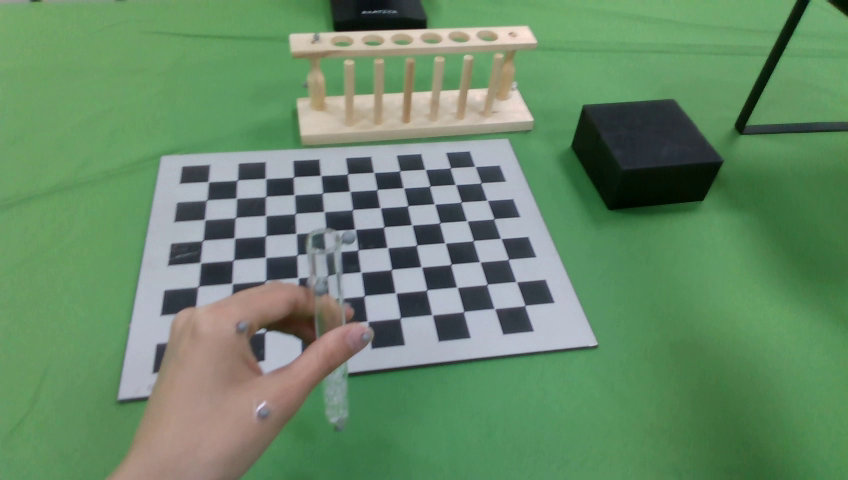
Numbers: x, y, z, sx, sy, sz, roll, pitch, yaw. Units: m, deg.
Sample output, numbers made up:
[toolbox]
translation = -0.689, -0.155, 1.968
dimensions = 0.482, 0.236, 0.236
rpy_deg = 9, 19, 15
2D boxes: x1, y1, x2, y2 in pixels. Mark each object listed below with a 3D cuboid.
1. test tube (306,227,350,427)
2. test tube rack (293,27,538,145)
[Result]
[test tube]
translation = -0.049, 0.054, 0.318
dimensions = 0.017, 0.151, 0.017
rpy_deg = 2, 42, -2
[test tube rack]
translation = -0.006, -0.159, 0.619
dimensions = 0.243, 0.086, 0.066
rpy_deg = -6, 47, -11
